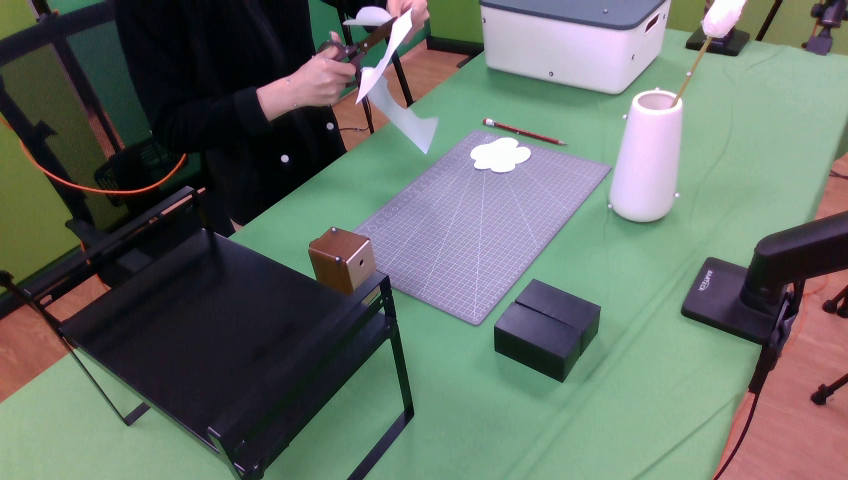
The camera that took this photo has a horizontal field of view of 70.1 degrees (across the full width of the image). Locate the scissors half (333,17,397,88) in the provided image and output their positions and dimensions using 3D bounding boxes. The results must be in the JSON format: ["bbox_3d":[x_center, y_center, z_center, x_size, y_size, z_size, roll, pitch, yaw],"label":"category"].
[{"bbox_3d":[-0.092,-0.295,0.958,0.040,0.174,0.013,39,47,-13],"label":"scissors half"}]

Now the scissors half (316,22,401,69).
[{"bbox_3d":[-0.106,-0.310,0.949,0.174,0.040,0.013,-10,41,33],"label":"scissors half"}]

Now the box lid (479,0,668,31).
[{"bbox_3d":[0.335,-0.536,1.331,0.368,0.015,0.264,23,49,30],"label":"box lid"}]

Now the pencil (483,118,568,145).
[{"bbox_3d":[0.201,-0.217,1.212,0.192,0.012,0.012,24,49,29],"label":"pencil"}]

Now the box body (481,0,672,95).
[{"bbox_3d":[0.341,-0.480,1.381,0.361,0.161,0.255,22,48,30],"label":"box body"}]

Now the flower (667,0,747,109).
[{"bbox_3d":[0.354,-0.187,0.879,0.038,0.362,0.044,30,48,14],"label":"flower"}]

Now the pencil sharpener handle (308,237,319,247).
[{"bbox_3d":[-0.158,0.017,0.892,0.030,0.068,0.036,18,62,28],"label":"pencil sharpener handle"}]

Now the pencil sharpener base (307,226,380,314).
[{"bbox_3d":[-0.116,0.043,0.875,0.076,0.107,0.061,18,47,27],"label":"pencil sharpener base"}]

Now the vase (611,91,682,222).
[{"bbox_3d":[0.348,-0.125,0.935,0.098,0.201,0.097,-3,40,3],"label":"vase"}]
